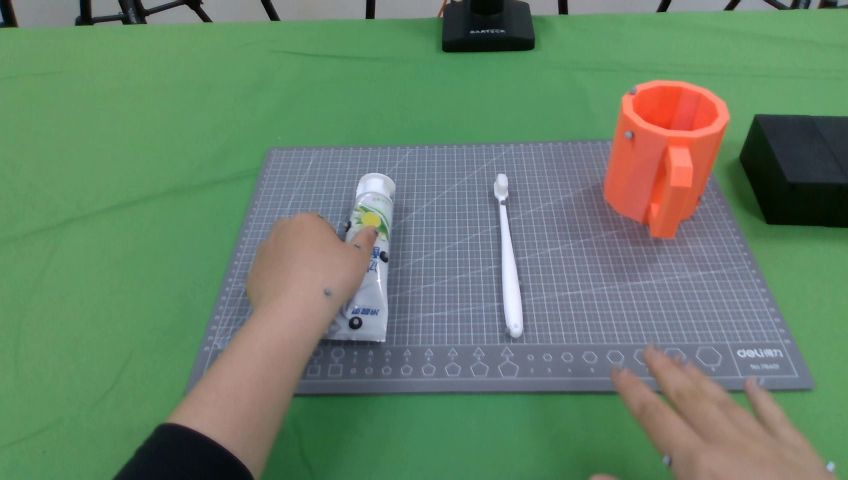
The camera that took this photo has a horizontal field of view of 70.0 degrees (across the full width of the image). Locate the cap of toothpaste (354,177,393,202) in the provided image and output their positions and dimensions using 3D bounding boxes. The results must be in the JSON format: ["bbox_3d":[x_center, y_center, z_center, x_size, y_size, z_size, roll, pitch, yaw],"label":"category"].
[{"bbox_3d":[-0.047,-0.043,0.564,0.037,0.038,0.011,2,49,5],"label":"cap of toothpaste"}]

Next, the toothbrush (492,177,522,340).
[{"bbox_3d":[0.071,0.008,0.520,0.014,0.017,0.180,9,46,-8],"label":"toothbrush"}]

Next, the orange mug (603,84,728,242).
[{"bbox_3d":[0.207,-0.063,0.526,0.083,0.102,0.125,5,41,8],"label":"orange mug"}]

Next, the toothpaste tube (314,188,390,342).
[{"bbox_3d":[-0.054,0.015,0.513,0.055,0.035,0.163,-2,48,6],"label":"toothpaste tube"}]
